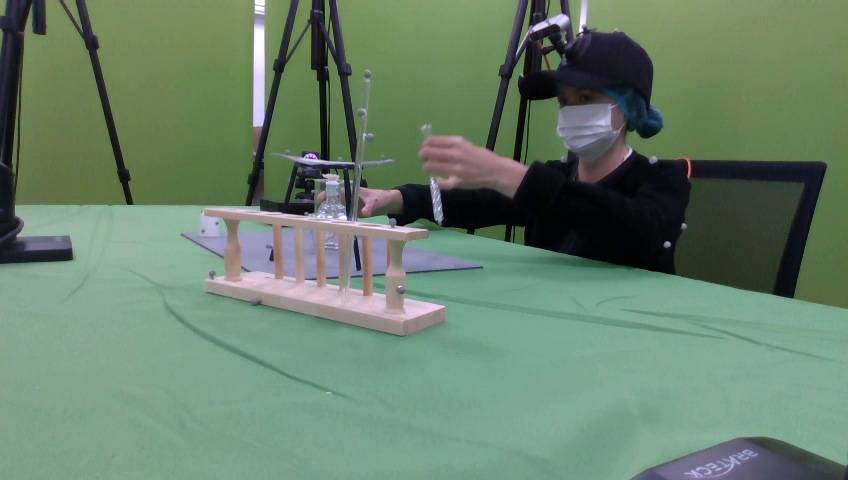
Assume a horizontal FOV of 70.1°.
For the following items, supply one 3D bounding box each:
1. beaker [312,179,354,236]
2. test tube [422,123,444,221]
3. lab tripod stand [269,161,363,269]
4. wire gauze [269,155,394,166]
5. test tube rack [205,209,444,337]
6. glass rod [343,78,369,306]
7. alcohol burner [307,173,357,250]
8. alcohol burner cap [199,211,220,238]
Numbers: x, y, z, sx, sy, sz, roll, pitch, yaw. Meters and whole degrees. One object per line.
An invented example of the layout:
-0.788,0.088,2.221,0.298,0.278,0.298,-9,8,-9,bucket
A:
-0.167,-0.060,1.103,0.074,0.100,0.084,1,8,-11,beaker
0.014,-0.103,0.925,0.017,0.150,0.017,-8,5,1,test tube
-0.125,-0.036,0.794,0.148,0.131,0.148,5,7,0,lab tripod stand
-0.121,-0.102,0.785,0.122,0.011,0.124,-3,10,-39,wire gauze
-0.100,0.021,0.565,0.241,0.085,0.067,7,8,32,test tube rack
-0.059,-0.038,0.522,0.008,0.199,0.008,6,5,0,glass rod
-0.144,-0.045,0.940,0.078,0.119,0.078,1,8,0,alcohol burner
-0.356,-0.027,1.002,0.034,0.048,0.034,2,7,0,alcohol burner cap
